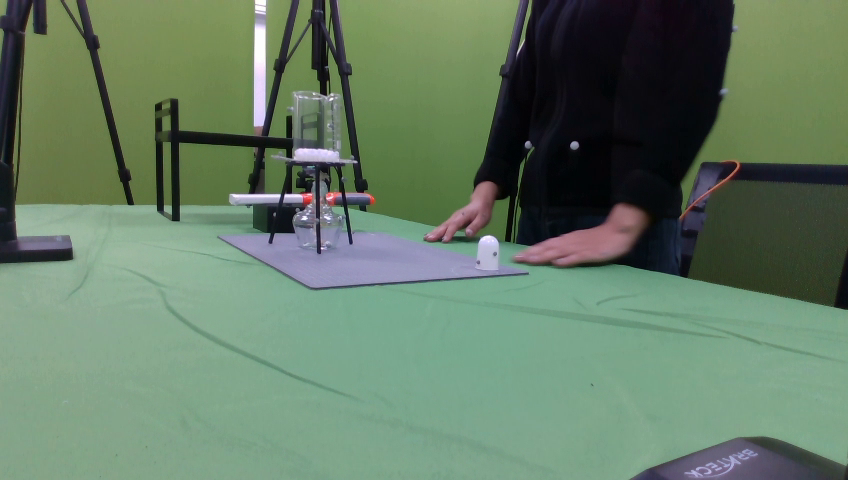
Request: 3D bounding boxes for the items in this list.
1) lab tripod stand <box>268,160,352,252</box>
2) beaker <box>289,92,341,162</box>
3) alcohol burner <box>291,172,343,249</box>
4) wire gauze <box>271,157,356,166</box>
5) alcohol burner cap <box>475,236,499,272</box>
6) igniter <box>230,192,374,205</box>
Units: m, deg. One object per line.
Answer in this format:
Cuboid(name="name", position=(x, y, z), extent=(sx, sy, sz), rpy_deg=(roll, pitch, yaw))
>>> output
Cuboid(name="lab tripod stand", position=(-0.171, -0.055, 0.921), extent=(0.148, 0.131, 0.148), rpy_deg=(1, 8, 0))
Cuboid(name="beaker", position=(-0.160, -0.167, 0.902), extent=(0.074, 0.100, 0.083), rpy_deg=(-3, 9, -30))
Cuboid(name="alcohol burner", position=(-0.162, -0.045, 0.922), extent=(0.078, 0.119, 0.078), rpy_deg=(5, 7, 0))
Cuboid(name="wire gauze", position=(-0.167, -0.120, 0.917), extent=(0.125, 0.011, 0.121), rpy_deg=(-2, 6, -8))
Cuboid(name="alcohol burner cap", position=(0.084, 0.018, 0.799), extent=(0.034, 0.048, 0.034), rpy_deg=(2, 7, 0))
Cuboid(name="igniter", position=(-0.228, -0.079, 1.164), extent=(0.278, 0.025, 0.057), rpy_deg=(-2, 14, -30))
